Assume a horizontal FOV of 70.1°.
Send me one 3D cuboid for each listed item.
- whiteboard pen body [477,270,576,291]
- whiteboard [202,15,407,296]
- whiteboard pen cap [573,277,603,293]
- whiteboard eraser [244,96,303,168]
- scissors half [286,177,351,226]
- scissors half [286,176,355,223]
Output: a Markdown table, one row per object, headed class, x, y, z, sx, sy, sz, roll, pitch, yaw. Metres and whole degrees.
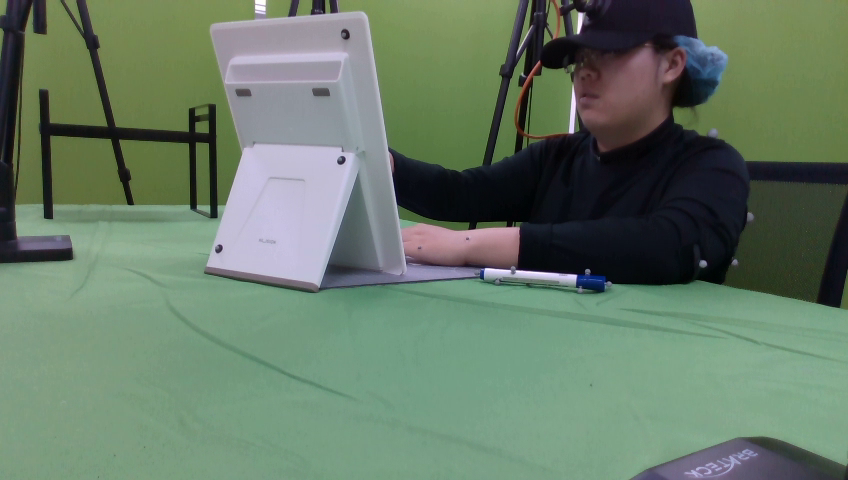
| class | x | y | z | sx | sy | sz | roll | pitch | yaw |
| --- | --- | --- | --- | --- | --- | --- | --- | --- | --- |
| whiteboard pen body | 0.131 | 0.048 | 0.706 | 0.140 | 0.017 | 0.017 | 4 | 8 | 18 |
| whiteboard | -0.166 | -0.073 | 0.668 | 0.216 | 0.305 | 0.144 | 7 | 30 | 28 |
| whiteboard pen cap | 0.186 | 0.051 | 0.687 | 0.033 | 0.018 | 0.018 | 4 | 8 | 17 |
| whiteboard eraser | -0.225 | -0.158 | 0.900 | 0.055 | 0.113 | 0.042 | 28 | 63 | 31 |
| scissors half | -0.232 | -0.085 | 1.317 | 0.175 | 0.013 | 0.040 | 37 | 18 | 5 |
| scissors half | -0.229 | -0.091 | 1.337 | 0.175 | 0.013 | 0.040 | 33 | 13 | -13 |
